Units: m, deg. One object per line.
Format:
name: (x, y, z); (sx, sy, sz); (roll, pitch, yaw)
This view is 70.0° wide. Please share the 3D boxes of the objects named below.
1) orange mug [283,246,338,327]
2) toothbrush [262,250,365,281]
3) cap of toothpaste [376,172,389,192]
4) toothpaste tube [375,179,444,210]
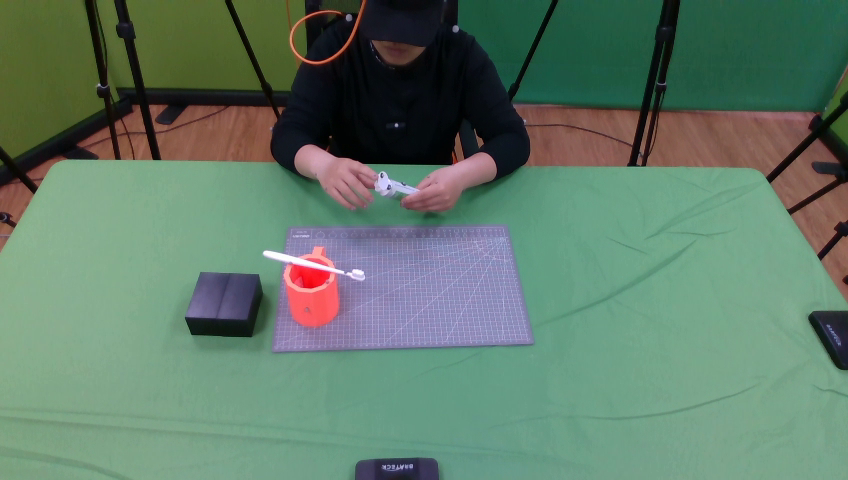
orange mug: (-0.192, 0.074, 1.056); (0.083, 0.101, 0.125); (5, 50, 1)
toothbrush: (-0.186, 0.041, 1.015); (0.182, 0.017, 0.014); (13, 55, 8)
cap of toothpaste: (-0.078, -0.108, 1.121); (0.011, 0.037, 0.037); (7, 43, 31)
toothpaste tube: (-0.032, -0.092, 1.198); (0.166, 0.055, 0.034); (16, 59, -45)
